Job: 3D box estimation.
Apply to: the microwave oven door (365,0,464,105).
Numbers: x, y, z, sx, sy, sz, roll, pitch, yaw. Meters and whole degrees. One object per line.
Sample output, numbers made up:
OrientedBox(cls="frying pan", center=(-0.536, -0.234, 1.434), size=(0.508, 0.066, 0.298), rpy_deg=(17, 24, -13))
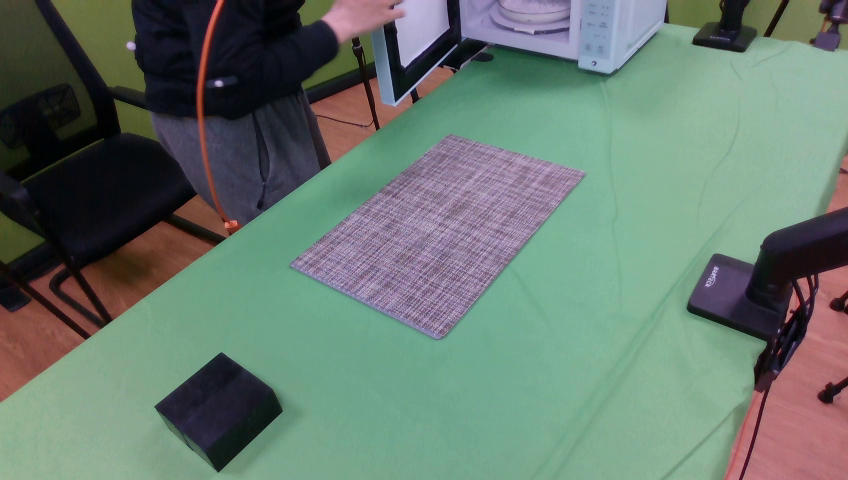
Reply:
OrientedBox(cls="microwave oven door", center=(-0.009, -0.497, 1.349), size=(0.039, 0.245, 0.356), rpy_deg=(15, 46, 24))

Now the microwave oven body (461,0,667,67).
OrientedBox(cls="microwave oven body", center=(0.324, -0.609, 1.437), size=(0.438, 0.261, 0.327), rpy_deg=(22, 50, 31))

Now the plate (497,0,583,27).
OrientedBox(cls="plate", center=(0.284, -0.572, 1.485), size=(0.209, 0.038, 0.208), rpy_deg=(-5, 42, 5))

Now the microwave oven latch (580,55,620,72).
OrientedBox(cls="microwave oven latch", center=(0.386, -0.393, 1.330), size=(0.078, 0.029, 0.030), rpy_deg=(25, 51, 32))
